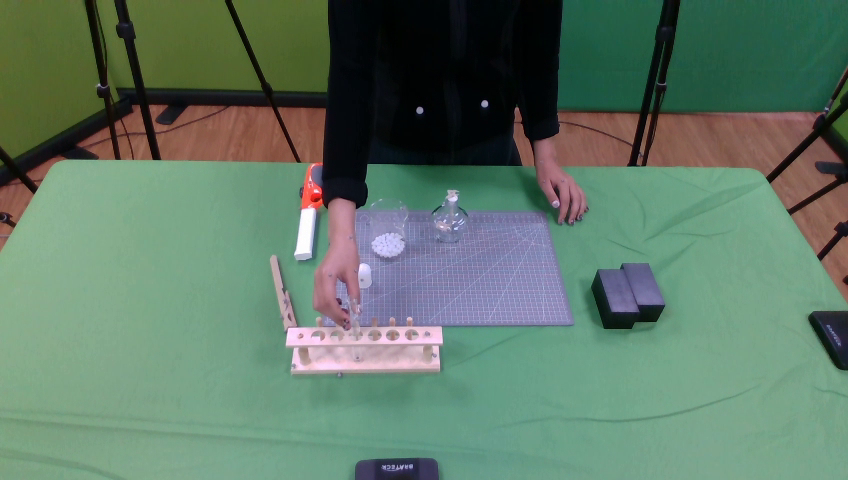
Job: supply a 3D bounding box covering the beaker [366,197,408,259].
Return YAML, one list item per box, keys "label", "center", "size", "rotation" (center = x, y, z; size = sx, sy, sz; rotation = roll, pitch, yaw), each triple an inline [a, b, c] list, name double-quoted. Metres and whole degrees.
- label: "beaker"
  center: [-0.068, -0.018, 1.153]
  size: [0.074, 0.101, 0.083]
  rotation: [-26, 54, -25]

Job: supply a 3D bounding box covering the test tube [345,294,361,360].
- label: "test tube"
  center: [-0.109, 0.139, 0.941]
  size: [0.017, 0.151, 0.017]
  rotation: [1, 43, 0]

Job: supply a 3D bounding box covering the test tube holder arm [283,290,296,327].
- label: "test tube holder arm"
  center: [-0.241, 0.123, 1.067]
  size: [0.010, 0.015, 0.087]
  rotation: [15, 34, -38]

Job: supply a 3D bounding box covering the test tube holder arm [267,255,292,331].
- label: "test tube holder arm"
  center: [-0.261, 0.091, 1.092]
  size: [0.013, 0.015, 0.177]
  rotation: [14, 35, -39]

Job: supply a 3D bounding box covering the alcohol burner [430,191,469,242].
- label: "alcohol burner"
  center: [0.051, -0.052, 1.185]
  size: [0.078, 0.119, 0.077]
  rotation: [2, 48, -2]

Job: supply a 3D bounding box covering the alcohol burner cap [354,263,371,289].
- label: "alcohol burner cap"
  center: [-0.113, 0.063, 1.111]
  size: [0.034, 0.048, 0.033]
  rotation: [2, 45, -2]

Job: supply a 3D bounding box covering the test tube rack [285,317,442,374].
- label: "test tube rack"
  center: [-0.095, 0.166, 0.988]
  size: [0.242, 0.085, 0.066]
  rotation: [0, 46, -4]

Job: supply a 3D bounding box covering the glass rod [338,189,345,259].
- label: "glass rod"
  center: [-0.166, -0.037, 1.227]
  size: [0.008, 0.008, 0.198]
  rotation: [0, 47, -4]

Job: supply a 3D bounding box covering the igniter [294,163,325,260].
- label: "igniter"
  center: [-0.234, -0.067, 1.243]
  size: [0.057, 0.025, 0.274]
  rotation: [-6, 46, 4]
